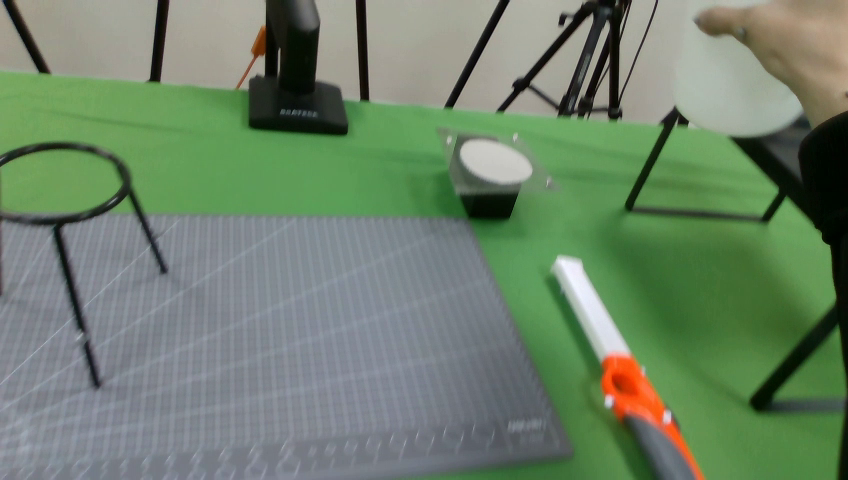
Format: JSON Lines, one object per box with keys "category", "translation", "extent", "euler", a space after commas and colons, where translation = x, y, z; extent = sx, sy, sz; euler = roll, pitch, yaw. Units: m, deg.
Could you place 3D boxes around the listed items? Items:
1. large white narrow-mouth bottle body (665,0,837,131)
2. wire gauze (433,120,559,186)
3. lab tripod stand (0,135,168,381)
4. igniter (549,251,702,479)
{"category": "large white narrow-mouth bottle body", "translation": [0.233, -0.180, 0.420], "extent": [0.102, 0.196, 0.101], "euler": [-5, 47, 6]}
{"category": "wire gauze", "translation": [0.078, -0.098, 0.687], "extent": [0.122, 0.011, 0.123], "euler": [1, 41, -18]}
{"category": "lab tripod stand", "translation": [-0.249, 0.006, 0.435], "extent": [0.149, 0.132, 0.147], "euler": [10, 40, -8]}
{"category": "igniter", "translation": [0.170, 0.109, 0.531], "extent": [0.057, 0.025, 0.273], "euler": [10, 39, -23]}
